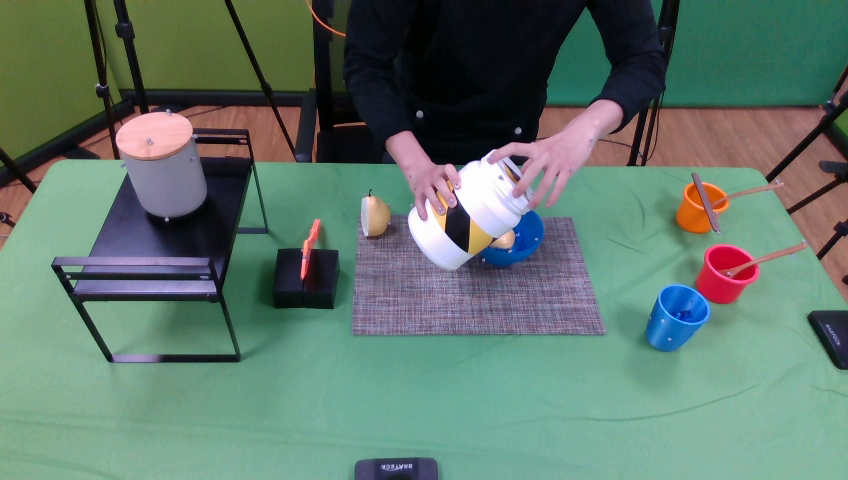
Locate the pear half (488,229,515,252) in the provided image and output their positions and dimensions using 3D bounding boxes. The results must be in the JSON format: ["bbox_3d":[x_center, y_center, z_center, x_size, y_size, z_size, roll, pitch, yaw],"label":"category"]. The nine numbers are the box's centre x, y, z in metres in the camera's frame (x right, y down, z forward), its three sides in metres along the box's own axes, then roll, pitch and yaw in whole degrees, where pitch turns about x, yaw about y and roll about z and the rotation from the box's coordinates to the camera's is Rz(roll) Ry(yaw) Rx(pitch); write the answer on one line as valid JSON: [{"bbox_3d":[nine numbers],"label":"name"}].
[{"bbox_3d":[0.145,-0.013,1.167,0.070,0.031,0.087,-21,55,-19],"label":"pear half"}]

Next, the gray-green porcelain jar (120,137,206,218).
[{"bbox_3d":[-0.403,-0.106,0.946,0.106,0.127,0.105,3,46,-2],"label":"gray-green porcelain jar"}]

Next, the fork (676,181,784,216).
[{"bbox_3d":[0.618,-0.083,1.235,0.019,0.207,0.028,54,40,-16],"label":"fork"}]

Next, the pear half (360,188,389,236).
[{"bbox_3d":[-0.096,-0.060,1.181,0.056,0.110,0.076,-14,52,-17],"label":"pear half"}]

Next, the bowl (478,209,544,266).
[{"bbox_3d":[0.149,-0.004,1.167,0.151,0.077,0.150,3,46,-2],"label":"bowl"}]

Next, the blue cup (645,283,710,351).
[{"bbox_3d":[0.426,0.139,1.041,0.093,0.100,0.092,4,46,-3],"label":"blue cup"}]

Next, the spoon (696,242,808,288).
[{"bbox_3d":[0.601,0.044,1.116,0.194,0.022,0.041,-29,34,30],"label":"spoon"}]

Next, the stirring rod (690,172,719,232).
[{"bbox_3d":[0.566,-0.080,1.224,0.014,0.006,0.175,3,46,1],"label":"stirring rod"}]

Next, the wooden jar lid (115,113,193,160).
[{"bbox_3d":[-0.399,-0.151,0.900,0.108,0.021,0.107,3,46,-3],"label":"wooden jar lid"}]

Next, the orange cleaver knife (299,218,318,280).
[{"bbox_3d":[-0.214,0.013,1.125,0.012,0.077,0.210,6,17,-5],"label":"orange cleaver knife"}]

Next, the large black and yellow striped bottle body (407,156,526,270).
[{"bbox_3d":[0.077,-0.049,1.008,0.131,0.184,0.130,41,26,-25],"label":"large black and yellow striped bottle body"}]

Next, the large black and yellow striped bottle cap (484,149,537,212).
[{"bbox_3d":[0.141,-0.097,0.975,0.115,0.019,0.114,39,27,-25],"label":"large black and yellow striped bottle cap"}]
